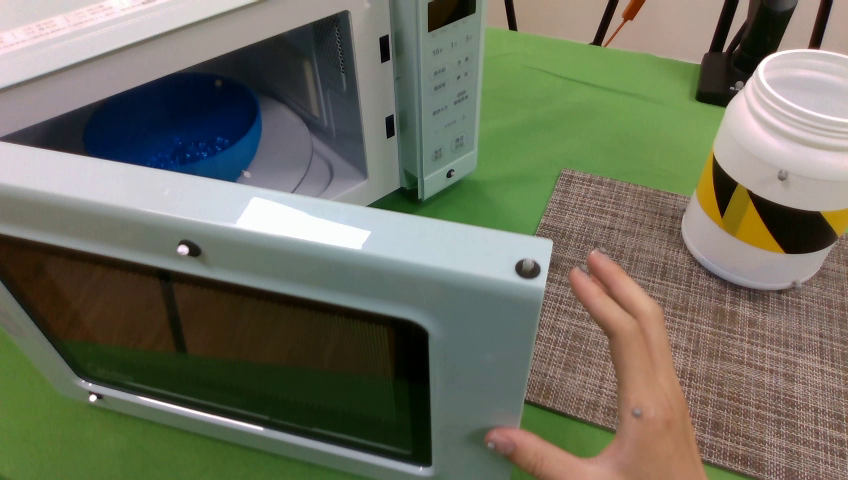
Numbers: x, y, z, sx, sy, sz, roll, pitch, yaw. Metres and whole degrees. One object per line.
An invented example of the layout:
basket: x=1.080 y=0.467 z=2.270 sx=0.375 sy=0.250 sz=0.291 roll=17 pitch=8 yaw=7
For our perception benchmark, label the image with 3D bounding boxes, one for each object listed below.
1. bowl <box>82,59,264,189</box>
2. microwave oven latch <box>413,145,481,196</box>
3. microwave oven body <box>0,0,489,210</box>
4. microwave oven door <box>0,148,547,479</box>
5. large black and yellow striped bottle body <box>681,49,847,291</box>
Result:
bowl: x=-0.215 y=-0.084 z=0.550 sx=0.151 sy=0.077 sz=0.150 roll=1 pitch=57 yaw=-1
microwave oven latch: x=0.025 y=-0.078 z=0.644 sx=0.079 sy=0.030 sz=0.030 roll=-30 pitch=53 yaw=-25
microwave oven body: x=-0.209 y=-0.142 z=0.574 sx=0.442 sy=0.262 sz=0.322 roll=-32 pitch=54 yaw=-26
microwave oven door: x=-0.115 y=0.061 z=0.367 sx=0.355 sy=0.246 sz=0.039 roll=10 pitch=47 yaw=11
large black and yellow striped bottle body: x=0.319 y=-0.059 z=0.536 sx=0.131 sy=0.185 sz=0.129 roll=0 pitch=46 yaw=1
